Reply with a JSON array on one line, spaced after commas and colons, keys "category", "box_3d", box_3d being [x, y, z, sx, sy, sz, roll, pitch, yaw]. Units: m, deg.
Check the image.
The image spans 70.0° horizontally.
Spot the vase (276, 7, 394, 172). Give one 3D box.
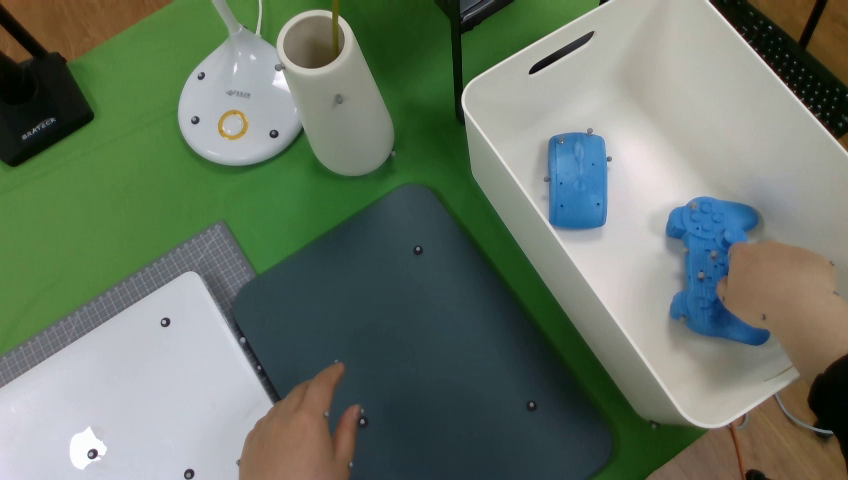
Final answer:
[{"category": "vase", "box_3d": [-0.091, -0.150, 0.631, 0.098, 0.201, 0.097, -2, 71, 6]}]

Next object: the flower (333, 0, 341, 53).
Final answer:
[{"category": "flower", "box_3d": [-0.080, -0.186, 0.556, 0.038, 0.364, 0.043, -19, 62, -19]}]

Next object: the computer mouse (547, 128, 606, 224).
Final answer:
[{"category": "computer mouse", "box_3d": [0.168, -0.074, 0.668, 0.062, 0.041, 0.116, 3, 69, 8]}]

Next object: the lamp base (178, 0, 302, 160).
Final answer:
[{"category": "lamp base", "box_3d": [-0.226, -0.206, 0.668, 0.160, 0.181, 0.178, -1, 70, 4]}]

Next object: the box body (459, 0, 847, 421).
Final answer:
[{"category": "box body", "box_3d": [0.230, -0.036, 0.593, 0.254, 0.161, 0.361, -31, 73, -5]}]

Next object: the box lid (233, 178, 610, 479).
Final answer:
[{"category": "box lid", "box_3d": [-0.013, 0.128, 0.637, 0.263, 0.015, 0.369, -34, 74, -8]}]

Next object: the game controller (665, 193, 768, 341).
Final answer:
[{"category": "game controller", "box_3d": [0.300, 0.021, 0.619, 0.097, 0.052, 0.154, 4, 68, 10]}]

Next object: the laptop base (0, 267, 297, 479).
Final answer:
[{"category": "laptop base", "box_3d": [-0.334, 0.212, 0.628, 0.354, 0.023, 0.234, -33, 77, -7]}]

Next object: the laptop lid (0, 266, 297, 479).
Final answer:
[{"category": "laptop lid", "box_3d": [-0.334, 0.211, 0.617, 0.357, 0.013, 0.240, -32, 76, -6]}]
